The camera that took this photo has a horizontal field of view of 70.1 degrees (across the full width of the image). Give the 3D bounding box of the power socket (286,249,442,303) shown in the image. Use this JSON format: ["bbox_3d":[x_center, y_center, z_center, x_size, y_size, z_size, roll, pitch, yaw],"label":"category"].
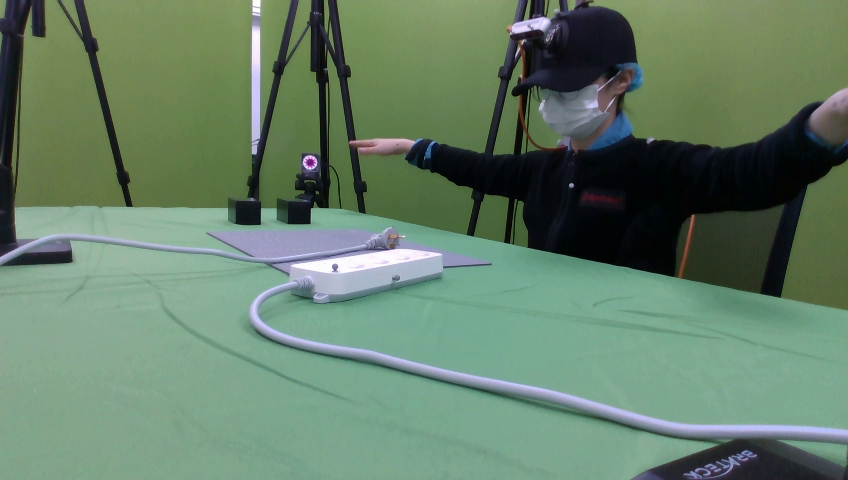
[{"bbox_3d":[-0.059,0.035,0.688,0.072,0.032,0.228,6,8,33],"label":"power socket"}]

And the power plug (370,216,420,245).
[{"bbox_3d":[-0.050,-0.023,0.961,0.053,0.072,0.035,37,-5,-35],"label":"power plug"}]
